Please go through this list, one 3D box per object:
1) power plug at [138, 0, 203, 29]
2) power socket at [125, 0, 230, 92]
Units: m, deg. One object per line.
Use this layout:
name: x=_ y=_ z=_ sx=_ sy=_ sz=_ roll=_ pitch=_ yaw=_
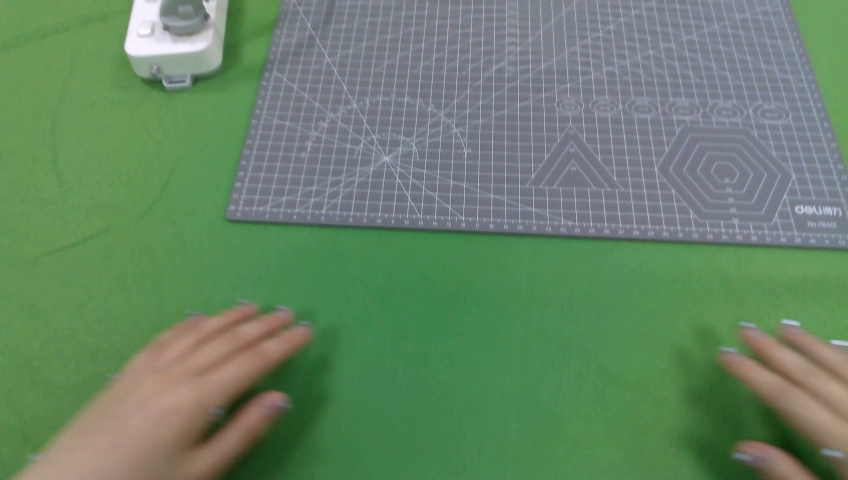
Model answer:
power plug: x=-0.191 y=-0.191 z=0.460 sx=0.035 sy=0.073 sz=0.052 roll=17 pitch=75 yaw=-2
power socket: x=-0.210 y=-0.226 z=0.537 sx=0.072 sy=0.033 sz=0.224 roll=-4 pitch=60 yaw=-3
